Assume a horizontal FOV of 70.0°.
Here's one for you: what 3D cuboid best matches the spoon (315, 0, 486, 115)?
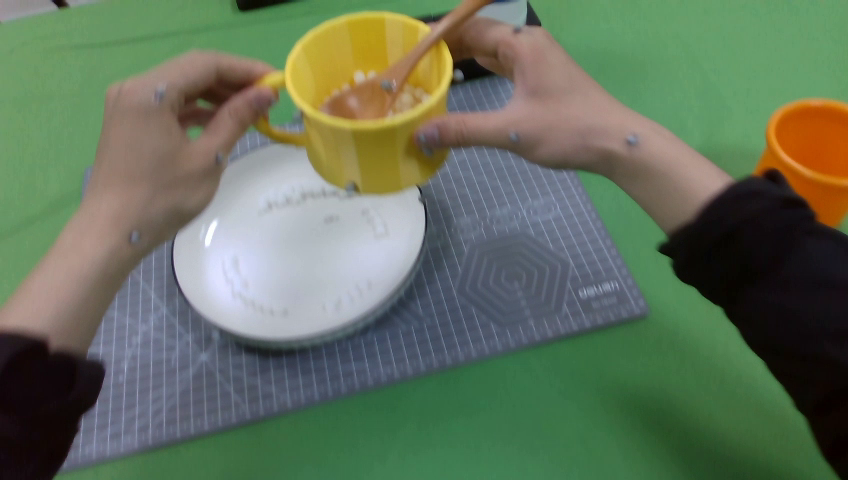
[{"bbox_3d":[0.006,-0.125,0.371,0.194,0.022,0.041,-37,62,15],"label":"spoon"}]

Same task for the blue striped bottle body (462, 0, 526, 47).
[{"bbox_3d":[0.065,-0.248,0.561,0.063,0.122,0.062,-3,54,4],"label":"blue striped bottle body"}]

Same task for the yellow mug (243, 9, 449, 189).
[{"bbox_3d":[-0.049,-0.088,0.387,0.131,0.064,0.099,-6,56,-1],"label":"yellow mug"}]

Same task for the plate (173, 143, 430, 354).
[{"bbox_3d":[-0.097,0.004,0.503,0.207,0.039,0.205,-2,54,3],"label":"plate"}]
